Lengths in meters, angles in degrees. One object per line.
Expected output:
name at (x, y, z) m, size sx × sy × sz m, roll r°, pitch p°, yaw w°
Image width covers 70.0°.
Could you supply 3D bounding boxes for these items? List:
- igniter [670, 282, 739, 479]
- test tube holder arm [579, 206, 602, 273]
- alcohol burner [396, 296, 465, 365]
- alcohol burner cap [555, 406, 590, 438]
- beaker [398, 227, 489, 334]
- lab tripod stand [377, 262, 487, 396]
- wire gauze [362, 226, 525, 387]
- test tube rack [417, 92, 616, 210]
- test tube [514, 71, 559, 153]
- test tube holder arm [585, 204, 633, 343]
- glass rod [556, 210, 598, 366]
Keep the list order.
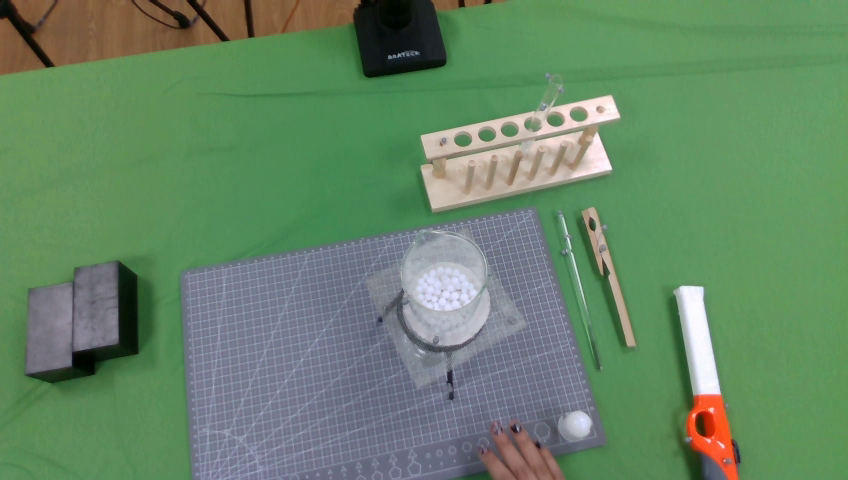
igniter at (0.315, 0.180, 0.681) m, size 0.057 × 0.025 × 0.274 m, roll 4°, pitch 68°, yaw -10°
test tube holder arm at (0.212, -0.001, 0.758) m, size 0.010 × 0.015 × 0.087 m, roll -22°, pitch 68°, yaw 25°
alcohol burner at (0.007, 0.094, 0.662) m, size 0.078 × 0.120 × 0.077 m, roll 0°, pitch 66°, yaw 1°
alcohol burner cap at (0.164, 0.196, 0.661) m, size 0.034 × 0.048 × 0.033 m, roll 0°, pitch 67°, yaw -1°
beaker at (0.015, 0.040, 0.550) m, size 0.074 × 0.101 × 0.083 m, roll -26°, pitch 70°, yaw -8°
lab tripod stand at (0.013, 0.088, 0.653) m, size 0.148 × 0.132 × 0.147 m, roll 0°, pitch 69°, yaw 1°
wire gauze at (0.018, 0.060, 0.593) m, size 0.121 × 0.011 × 0.124 m, roll -27°, pitch 72°, yaw -7°
test tube rack at (0.117, -0.111, 0.763) m, size 0.242 × 0.086 × 0.066 m, roll -13°, pitch 68°, yaw -6°
test tube at (0.132, -0.148, 0.725) m, size 0.017 × 0.151 × 0.017 m, roll 3°, pitch 66°, yaw -6°
test tube holder arm at (0.225, 0.038, 0.740) m, size 0.013 × 0.015 × 0.177 m, roll -22°, pitch 68°, yaw 25°
glass rod at (0.186, 0.055, 0.739) m, size 0.008 × 0.008 × 0.198 m, roll -8°, pitch 71°, yaw -4°
